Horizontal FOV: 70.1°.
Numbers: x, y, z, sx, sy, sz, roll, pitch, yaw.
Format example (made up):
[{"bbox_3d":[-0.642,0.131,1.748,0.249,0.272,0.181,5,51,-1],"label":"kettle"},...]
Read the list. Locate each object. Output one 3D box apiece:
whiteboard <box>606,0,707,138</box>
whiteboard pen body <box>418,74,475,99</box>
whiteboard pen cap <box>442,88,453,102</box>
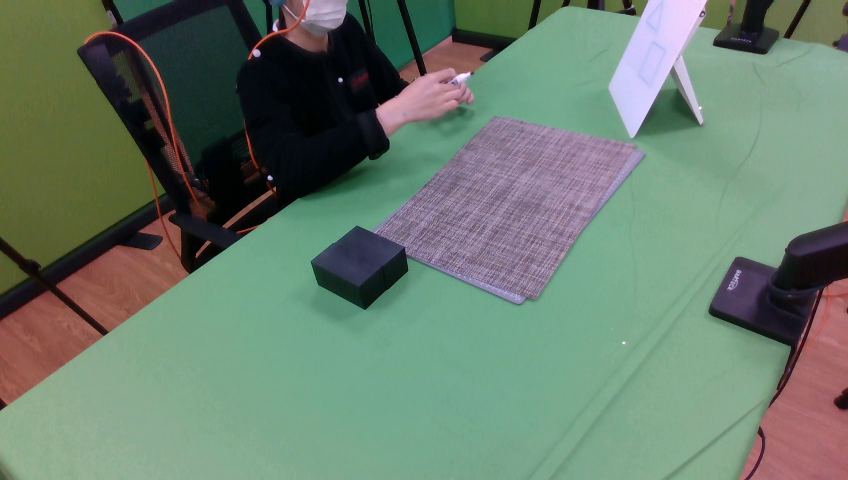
[{"bbox_3d":[0.496,-0.359,1.147,0.144,0.305,0.216,11,40,-7],"label":"whiteboard"},{"bbox_3d":[0.042,-0.290,1.136,0.140,0.017,0.017,-10,30,43],"label":"whiteboard pen body"},{"bbox_3d":[0.047,-0.296,1.231,0.018,0.018,0.033,7,50,16],"label":"whiteboard pen cap"}]
